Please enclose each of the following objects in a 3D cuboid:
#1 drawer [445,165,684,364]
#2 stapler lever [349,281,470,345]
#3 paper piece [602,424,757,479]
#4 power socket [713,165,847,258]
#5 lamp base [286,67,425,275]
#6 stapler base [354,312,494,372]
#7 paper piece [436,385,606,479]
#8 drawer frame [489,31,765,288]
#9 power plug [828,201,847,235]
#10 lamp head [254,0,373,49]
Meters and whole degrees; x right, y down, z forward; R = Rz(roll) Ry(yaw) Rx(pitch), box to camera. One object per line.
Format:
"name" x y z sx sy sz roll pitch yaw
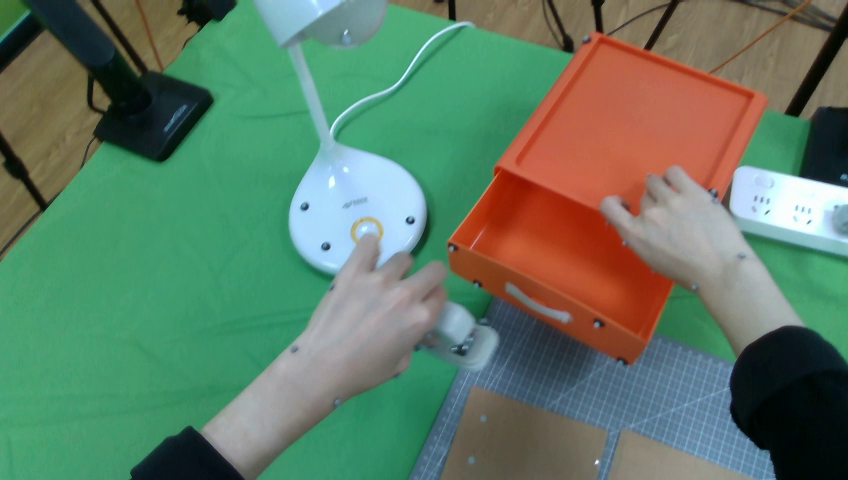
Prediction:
"drawer" 0.156 -0.018 0.591 0.193 0.074 0.211 28 66 18
"stapler lever" -0.016 0.057 0.495 0.117 0.040 0.026 16 63 33
"paper piece" 0.218 0.250 0.530 0.135 0.004 0.135 20 66 15
"power socket" 0.430 -0.024 0.650 0.226 0.033 0.072 16 65 12
"lamp base" -0.091 -0.078 0.636 0.160 0.182 0.177 -28 60 -11
"stapler base" -0.005 0.071 0.514 0.129 0.025 0.041 16 63 32
"paper piece" 0.084 0.217 0.560 0.135 0.009 0.137 16 65 15
"drawer frame" 0.205 -0.090 0.624 0.200 0.083 0.213 28 66 18
"power plug" 0.427 -0.009 0.615 0.035 0.053 0.072 26 67 17
"lamp head" -0.072 -0.195 0.367 0.112 0.112 0.123 -36 103 -14
